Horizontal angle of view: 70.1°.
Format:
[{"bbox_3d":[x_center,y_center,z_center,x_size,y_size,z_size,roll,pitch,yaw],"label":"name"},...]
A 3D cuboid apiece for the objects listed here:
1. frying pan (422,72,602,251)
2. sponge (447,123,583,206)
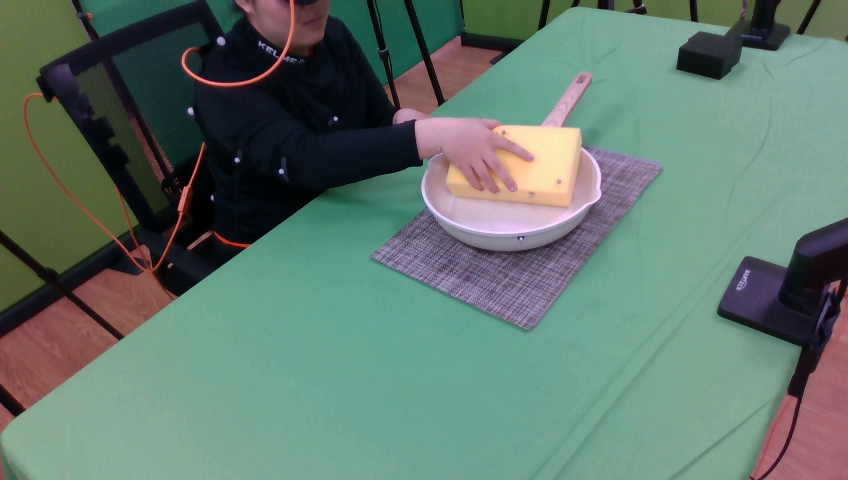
[{"bbox_3d":[0.199,-0.155,1.062,0.304,0.103,0.488,19,56,28],"label":"frying pan"},{"bbox_3d":[0.155,-0.129,1.028,0.206,0.061,0.118,6,73,20],"label":"sponge"}]
